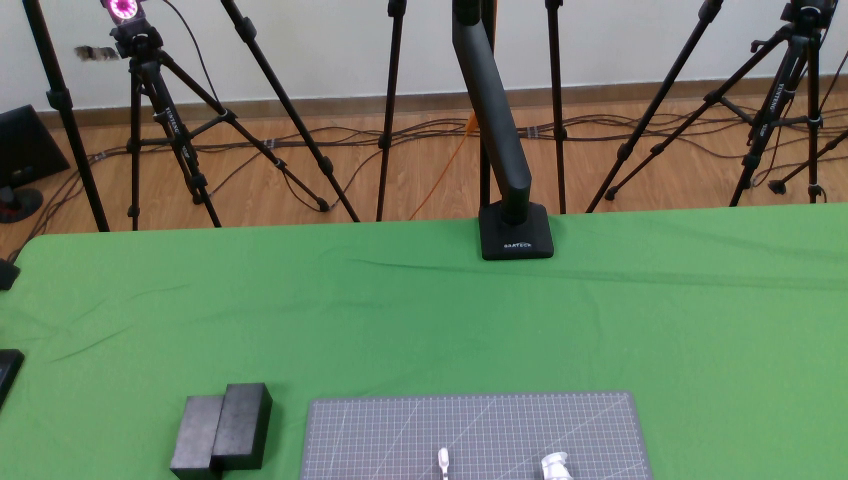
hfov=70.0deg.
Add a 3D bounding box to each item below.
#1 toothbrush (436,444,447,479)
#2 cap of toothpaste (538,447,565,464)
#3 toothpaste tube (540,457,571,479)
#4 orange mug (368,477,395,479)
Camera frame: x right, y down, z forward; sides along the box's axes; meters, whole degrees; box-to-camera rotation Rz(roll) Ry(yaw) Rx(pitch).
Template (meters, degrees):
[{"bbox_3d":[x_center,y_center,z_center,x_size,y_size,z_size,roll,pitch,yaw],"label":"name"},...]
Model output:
[{"bbox_3d":[0.030,0.338,0.738,0.014,0.017,0.180,5,50,-12],"label":"toothbrush"},{"bbox_3d":[0.163,0.276,0.770,0.037,0.038,0.011,-11,47,-7],"label":"cap of toothpaste"},{"bbox_3d":[0.164,0.342,0.722,0.055,0.035,0.163,-7,53,6],"label":"toothpaste tube"},{"bbox_3d":[-0.036,0.341,0.685,0.083,0.102,0.125,-29,49,-20],"label":"orange mug"}]
